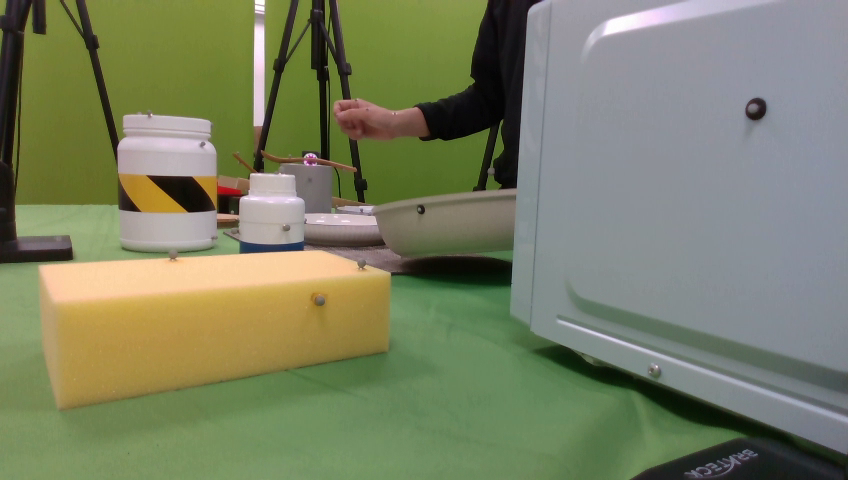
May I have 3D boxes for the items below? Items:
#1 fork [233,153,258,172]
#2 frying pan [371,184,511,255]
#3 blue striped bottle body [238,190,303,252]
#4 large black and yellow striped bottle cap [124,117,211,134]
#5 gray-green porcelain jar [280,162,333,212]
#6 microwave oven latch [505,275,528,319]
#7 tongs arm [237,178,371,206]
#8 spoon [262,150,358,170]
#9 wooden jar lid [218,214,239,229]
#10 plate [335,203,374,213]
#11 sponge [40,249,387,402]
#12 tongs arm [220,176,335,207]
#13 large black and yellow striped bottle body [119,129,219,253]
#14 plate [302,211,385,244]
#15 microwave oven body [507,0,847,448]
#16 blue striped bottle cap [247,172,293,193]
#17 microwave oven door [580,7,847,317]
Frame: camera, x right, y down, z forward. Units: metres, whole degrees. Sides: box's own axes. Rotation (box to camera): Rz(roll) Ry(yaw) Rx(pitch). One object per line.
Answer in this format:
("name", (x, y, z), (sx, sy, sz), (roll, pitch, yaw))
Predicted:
("fork", (-0.396, -0.143, 1.486), (0.028, 0.018, 0.208), (20, -26, 45))
("frying pan", (0.174, -0.047, 0.823), (0.490, 0.102, 0.305), (-13, 2, -21))
("blue striped bottle body", (-0.153, -0.007, 0.606), (0.063, 0.120, 0.063), (2, 8, 0))
("large black and yellow striped bottle cap", (-0.366, -0.163, 0.866), (0.115, 0.019, 0.115), (3, 7, 0))
("gray-green porcelain jar", (-0.238, -0.092, 1.221), (0.106, 0.126, 0.106), (2, 7, 0))
("microwave oven latch", (0.100, 0.042, 0.471), (0.079, 0.029, 0.030), (-1, 7, -28))
("tongs arm", (-0.242, -0.095, 1.374), (0.387, 0.026, 0.050), (9, -1, -37))
("spoon", (-0.229, -0.162, 1.222), (0.194, 0.021, 0.041), (4, 5, -16))
("wooden jar lid", (-0.404, -0.037, 1.169), (0.108, 0.020, 0.108), (3, 7, 0))
("plate", (-0.089, -0.053, 1.309), (0.208, 0.039, 0.207), (2, 8, 0))
("sponge", (-0.142, 0.047, 0.420), (0.208, 0.061, 0.117), (-3, 8, -36))
("tongs arm", (-0.285, -0.104, 1.445), (0.389, 0.027, 0.028), (9, -4, -23))
("large black and yellow striped bottle body", (-0.367, -0.080, 0.876), (0.131, 0.184, 0.130), (2, 7, 0))
("plate", (-0.139, -0.022, 1.021), (0.209, 0.038, 0.209), (2, 8, 0))
("microwave oven body", (0.331, -0.042, 0.425), (0.444, 0.260, 0.324), (-2, 8, -31))
("blue striped bottle cap", (-0.152, -0.057, 0.598), (0.044, 0.020, 0.044), (3, 6, 0))
("microwave oven door", (0.295, -0.067, 0.570), (0.358, 0.243, 0.039), (-3, 9, -31))
